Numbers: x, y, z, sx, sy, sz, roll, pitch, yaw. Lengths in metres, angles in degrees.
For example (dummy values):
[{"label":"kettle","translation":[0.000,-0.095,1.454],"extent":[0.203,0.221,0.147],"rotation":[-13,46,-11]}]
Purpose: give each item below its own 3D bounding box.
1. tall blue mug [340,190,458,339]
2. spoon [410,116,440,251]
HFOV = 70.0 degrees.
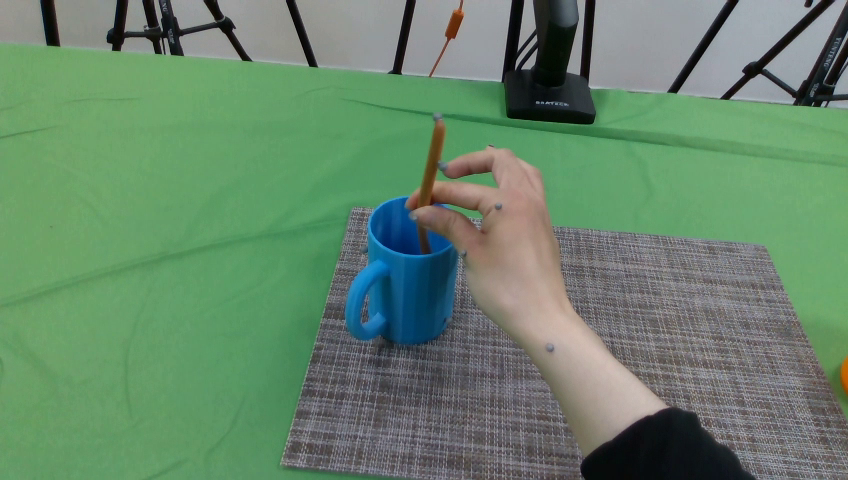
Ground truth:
[{"label":"tall blue mug","translation":[-0.018,0.033,0.509],"extent":[0.077,0.109,0.106],"rotation":[12,44,6]},{"label":"spoon","translation":[-0.003,-0.014,0.454],"extent":[0.021,0.195,0.041],"rotation":[2,52,0]}]
